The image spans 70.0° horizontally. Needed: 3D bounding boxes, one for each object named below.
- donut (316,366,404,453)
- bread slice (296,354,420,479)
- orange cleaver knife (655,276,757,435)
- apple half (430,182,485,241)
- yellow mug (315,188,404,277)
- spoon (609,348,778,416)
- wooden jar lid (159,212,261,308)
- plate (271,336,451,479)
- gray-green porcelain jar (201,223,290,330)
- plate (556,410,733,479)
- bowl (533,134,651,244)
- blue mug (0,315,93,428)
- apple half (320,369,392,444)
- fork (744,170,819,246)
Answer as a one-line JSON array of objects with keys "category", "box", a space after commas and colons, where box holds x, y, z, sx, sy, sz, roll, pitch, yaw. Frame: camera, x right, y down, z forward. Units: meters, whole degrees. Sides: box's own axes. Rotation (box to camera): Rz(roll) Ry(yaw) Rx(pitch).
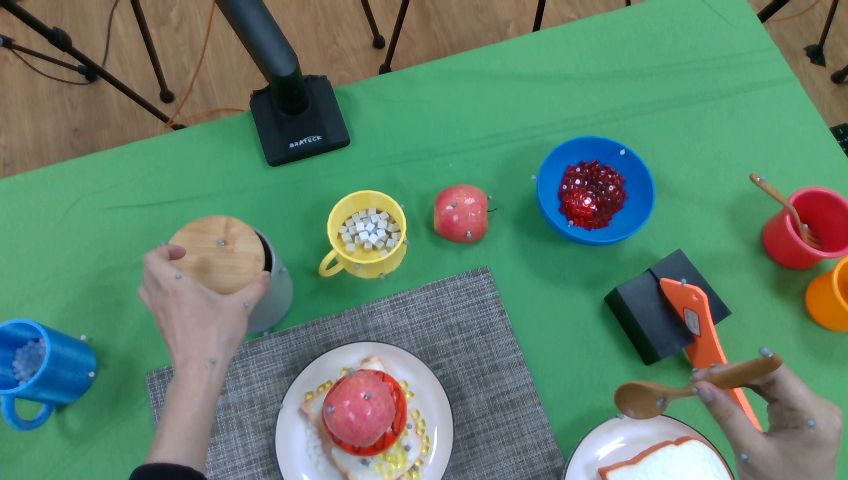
[{"category": "donut", "box": [-0.072, 0.193, 0.691, 0.099, 0.048, 0.098, 1, 70, -1]}, {"category": "bread slice", "box": [-0.069, 0.215, 0.714, 0.107, 0.018, 0.133, -34, 75, -13]}, {"category": "orange cleaver knife", "box": [0.340, 0.138, 0.735, 0.012, 0.077, 0.211, -27, 95, -18]}, {"category": "apple half", "box": [0.045, -0.044, 0.808, 0.074, 0.054, 0.080, 3, 70, 2]}, {"category": "yellow mug", "box": [-0.088, 0.000, 0.780, 0.131, 0.064, 0.099, -40, 76, -14]}, {"category": "spoon", "box": [0.204, 0.114, 0.475, 0.041, 0.194, 0.021, 41, 66, 5]}, {"category": "wooden jar lid", "box": [-0.230, 0.023, 0.658, 0.108, 0.021, 0.107, 0, 71, 0]}, {"category": "plate", "box": [-0.072, 0.218, 0.712, 0.208, 0.039, 0.206, 1, 70, -1]}, {"category": "gray-green porcelain jar", "box": [-0.221, 0.048, 0.726, 0.106, 0.127, 0.105, 1, 70, -1]}, {"category": "plate", "box": [0.252, 0.301, 0.696, 0.209, 0.038, 0.207, 0, 70, -1]}, {"category": "bowl", "box": [0.213, -0.056, 0.803, 0.151, 0.077, 0.150, 1, 71, -1]}, {"category": "blue mug", "box": [-0.448, 0.154, 0.691, 0.082, 0.106, 0.116, 3, 70, -1]}, {"category": "apple half", "box": [-0.074, 0.180, 0.658, 0.081, 0.033, 0.080, -2, 70, 5]}, {"category": "fork", "box": [0.456, -0.039, 0.767, 0.209, 0.018, 0.028, 29, 64, -36]}]
